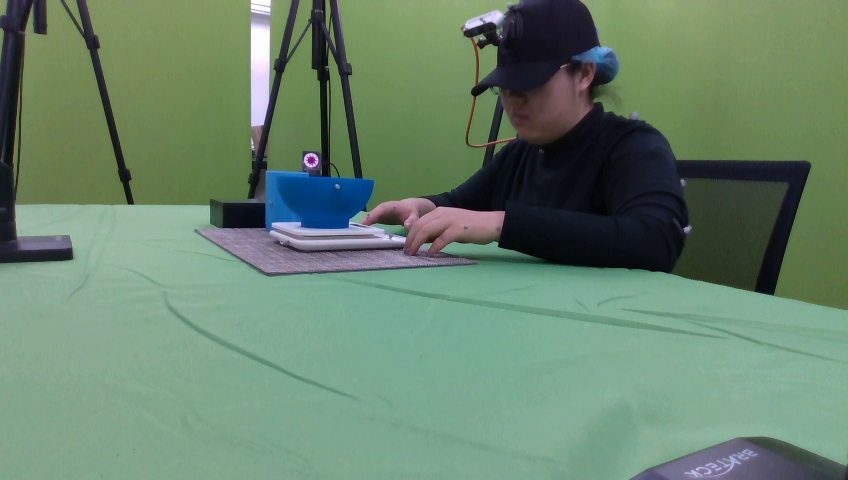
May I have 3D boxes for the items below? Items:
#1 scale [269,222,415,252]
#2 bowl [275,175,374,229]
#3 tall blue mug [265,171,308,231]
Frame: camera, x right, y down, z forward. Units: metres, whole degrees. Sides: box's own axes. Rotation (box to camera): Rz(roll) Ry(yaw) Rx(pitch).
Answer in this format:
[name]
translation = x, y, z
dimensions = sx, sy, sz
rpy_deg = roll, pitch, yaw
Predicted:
[scale]
translation = -0.130, -0.008, 0.958
dimensions = 0.202, 0.031, 0.148
rpy_deg = -1, 9, -32
[bowl]
translation = -0.153, -0.059, 0.933
dimensions = 0.151, 0.077, 0.151
rpy_deg = 2, 7, 0
[tall blue mug]
translation = -0.248, -0.073, 1.121
dimensions = 0.078, 0.108, 0.107
rpy_deg = 3, 8, 8
